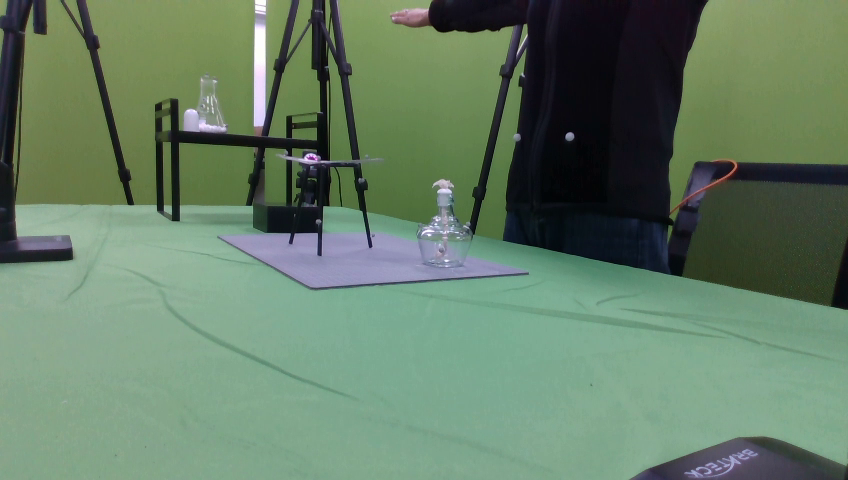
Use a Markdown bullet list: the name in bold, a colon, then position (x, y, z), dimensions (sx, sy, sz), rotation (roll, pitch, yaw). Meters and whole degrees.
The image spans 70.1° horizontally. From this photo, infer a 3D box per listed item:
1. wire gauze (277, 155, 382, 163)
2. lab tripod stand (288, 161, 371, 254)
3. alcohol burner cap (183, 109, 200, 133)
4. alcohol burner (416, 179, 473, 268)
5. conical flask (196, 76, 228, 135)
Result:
- **wire gauze**: position (-0.142, -0.118, 0.899), dimensions (0.122, 0.011, 0.124), rotation (-3, 8, -36)
- **lab tripod stand**: position (-0.148, -0.052, 0.908), dimensions (0.148, 0.131, 0.148), rotation (1, 8, 0)
- **alcohol burner cap**: position (-0.472, -0.241, 1.229), dimensions (0.034, 0.048, 0.034), rotation (4, 8, 0)
- **alcohol burner**: position (0.027, -0.022, 0.816), dimensions (0.078, 0.119, 0.078), rotation (0, 7, 0)
- **conical flask**: position (-0.465, -0.291, 1.311), dimensions (0.075, 0.122, 0.075), rotation (2, 7, 0)
